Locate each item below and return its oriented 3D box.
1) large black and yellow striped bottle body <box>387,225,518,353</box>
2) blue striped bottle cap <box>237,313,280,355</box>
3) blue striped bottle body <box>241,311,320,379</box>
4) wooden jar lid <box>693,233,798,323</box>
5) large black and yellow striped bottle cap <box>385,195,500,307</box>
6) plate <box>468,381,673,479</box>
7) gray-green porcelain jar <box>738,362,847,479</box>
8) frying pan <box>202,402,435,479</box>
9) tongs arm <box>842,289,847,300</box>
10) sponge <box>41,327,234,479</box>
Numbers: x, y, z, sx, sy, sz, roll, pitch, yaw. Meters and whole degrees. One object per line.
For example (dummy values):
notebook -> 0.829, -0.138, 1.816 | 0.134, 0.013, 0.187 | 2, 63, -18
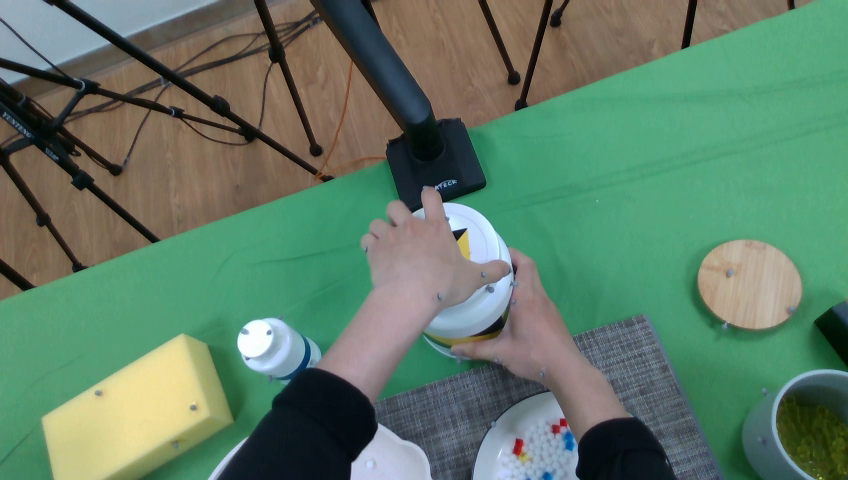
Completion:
large black and yellow striped bottle body -> 0.034, 0.044, 0.677 | 0.130, 0.185, 0.130 | -5, 66, 11
blue striped bottle cap -> -0.186, 0.105, 0.678 | 0.044, 0.021, 0.044 | -6, 64, 13
blue striped bottle body -> -0.175, 0.124, 0.724 | 0.063, 0.122, 0.062 | -5, 66, 11
wooden jar lid -> 0.365, 0.044, 0.693 | 0.108, 0.021, 0.107 | -4, 68, 11
large black and yellow striped bottle cap -> 0.018, 0.009, 0.602 | 0.115, 0.019, 0.114 | -4, 68, 10
plate -> 0.151, 0.255, 0.637 | 0.209, 0.038, 0.207 | -5, 67, 11
gray-green porcelain jar -> 0.365, 0.181, 0.575 | 0.105, 0.127, 0.105 | -5, 66, 11
frying pan -> -0.051, 0.387, 0.591 | 0.307, 0.104, 0.482 | -41, 57, -5
tongs arm -> 0.513, 0.208, 0.549 | 0.051, 0.027, 0.382 | -23, 75, 0
sponge -> -0.359, 0.216, 0.760 | 0.207, 0.061, 0.117 | -31, 64, -2
